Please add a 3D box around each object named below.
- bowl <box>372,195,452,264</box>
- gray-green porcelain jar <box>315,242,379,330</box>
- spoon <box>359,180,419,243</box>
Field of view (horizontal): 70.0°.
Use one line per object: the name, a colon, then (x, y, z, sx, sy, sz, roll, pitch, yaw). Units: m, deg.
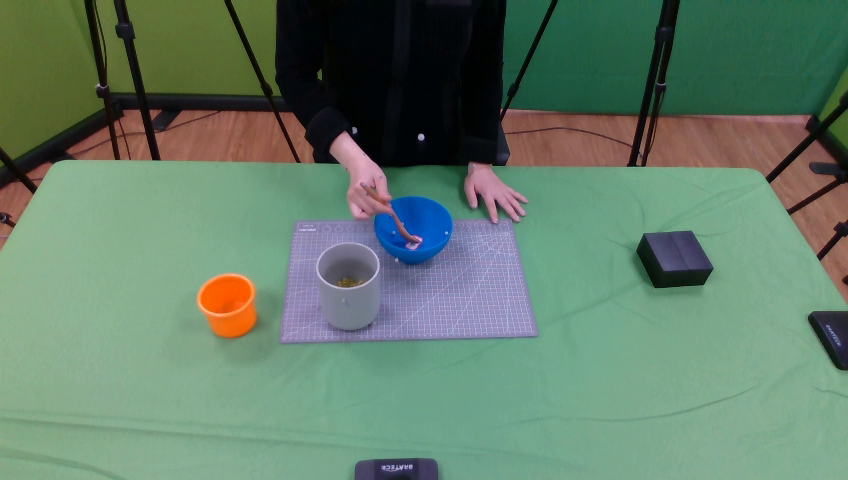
bowl: (-0.023, -0.008, 1.161, 0.151, 0.077, 0.150, 2, 46, -2)
gray-green porcelain jar: (-0.129, 0.084, 1.031, 0.106, 0.127, 0.105, 2, 46, -2)
spoon: (-0.063, -0.050, 1.103, 0.021, 0.195, 0.041, -43, 43, -6)
